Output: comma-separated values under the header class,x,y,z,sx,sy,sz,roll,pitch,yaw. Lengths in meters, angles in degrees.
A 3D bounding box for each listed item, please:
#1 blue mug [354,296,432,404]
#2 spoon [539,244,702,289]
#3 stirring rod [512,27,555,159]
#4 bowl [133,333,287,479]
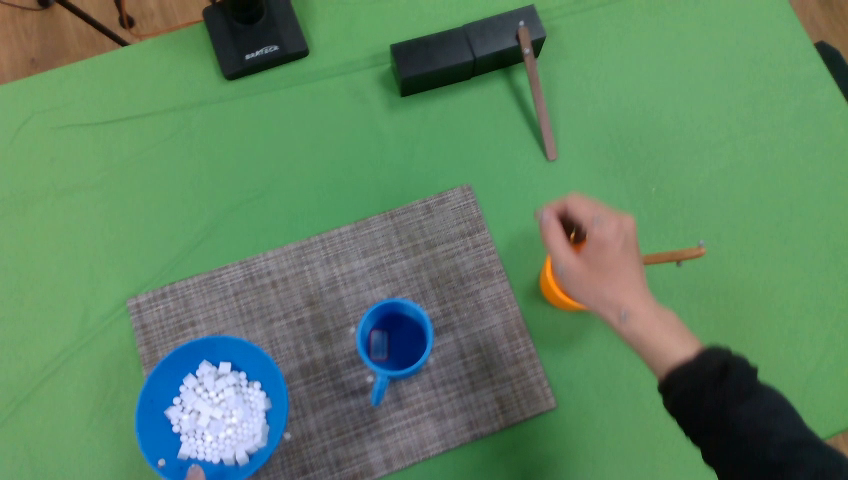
class,x,y,z,sx,sy,sz,roll,pitch,yaw
blue mug,-0.039,0.129,0.685,0.082,0.106,0.116,18,76,3
spoon,0.221,0.027,0.703,0.022,0.193,0.041,17,68,-44
stirring rod,0.145,-0.192,0.799,0.014,0.006,0.176,-17,96,-9
bowl,-0.214,0.179,0.638,0.151,0.077,0.150,1,71,-2
